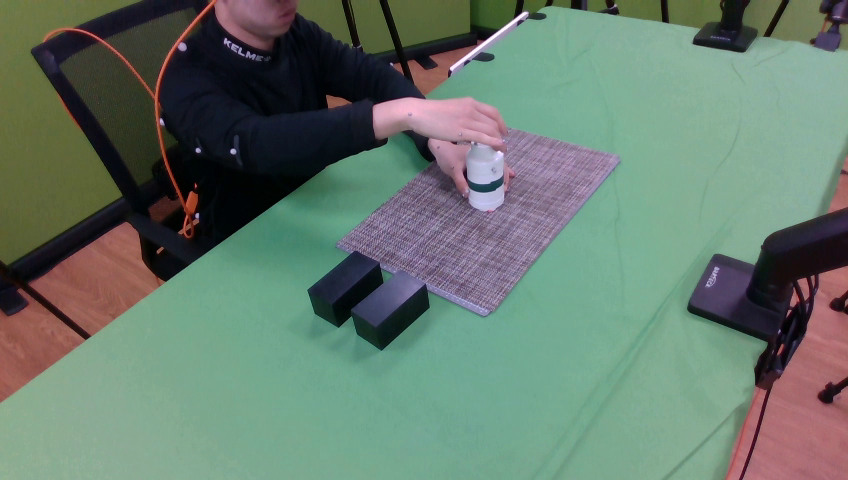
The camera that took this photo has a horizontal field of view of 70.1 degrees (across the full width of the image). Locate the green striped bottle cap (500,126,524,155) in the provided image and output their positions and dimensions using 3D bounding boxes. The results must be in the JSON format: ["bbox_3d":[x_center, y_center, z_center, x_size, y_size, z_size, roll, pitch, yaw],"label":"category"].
[{"bbox_3d":[0.137,-0.156,0.944,0.020,0.044,0.044,-8,38,-21],"label":"green striped bottle cap"}]

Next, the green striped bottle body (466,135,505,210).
[{"bbox_3d":[0.102,-0.114,1.005,0.063,0.120,0.063,-4,41,4],"label":"green striped bottle body"}]
